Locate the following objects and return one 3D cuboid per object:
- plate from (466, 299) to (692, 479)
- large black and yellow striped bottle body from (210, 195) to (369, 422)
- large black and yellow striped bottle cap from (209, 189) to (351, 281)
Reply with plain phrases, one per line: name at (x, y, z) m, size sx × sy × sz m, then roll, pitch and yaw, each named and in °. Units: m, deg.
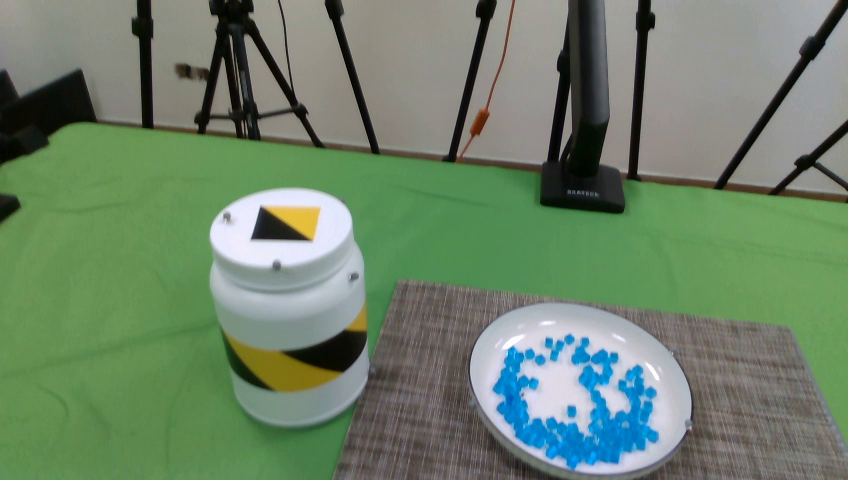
plate at (0.143, 0.139, 0.578) m, size 0.208 × 0.039 × 0.205 m, roll 2°, pitch 36°, yaw -1°
large black and yellow striped bottle body at (-0.119, 0.061, 0.555) m, size 0.131 × 0.185 × 0.129 m, roll 1°, pitch 37°, yaw 0°
large black and yellow striped bottle cap at (-0.119, -0.008, 0.505) m, size 0.115 × 0.019 × 0.114 m, roll 3°, pitch 36°, yaw -2°
